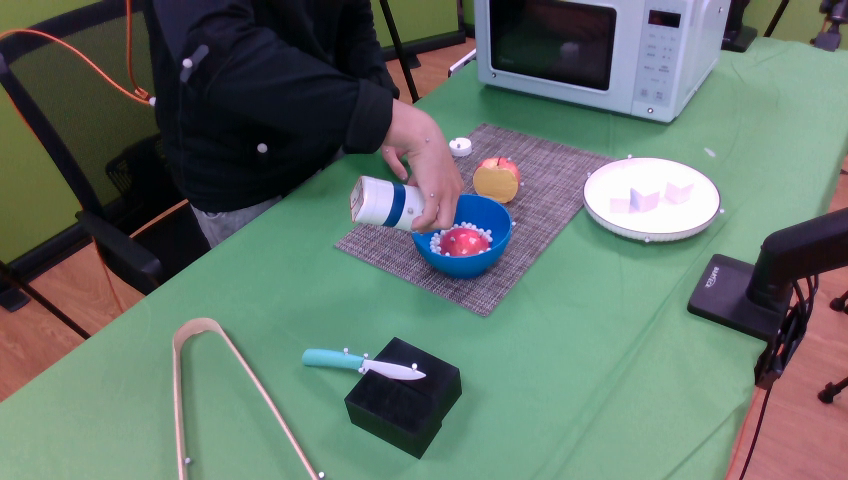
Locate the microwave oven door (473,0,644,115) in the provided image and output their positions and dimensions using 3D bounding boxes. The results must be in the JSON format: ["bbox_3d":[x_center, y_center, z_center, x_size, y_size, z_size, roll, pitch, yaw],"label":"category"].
[{"bbox_3d":[0.257,-0.396,1.199,0.353,0.245,0.039,21,48,29],"label":"microwave oven door"}]

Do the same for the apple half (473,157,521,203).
[{"bbox_3d":[0.128,-0.107,1.030,0.080,0.075,0.053,5,39,20],"label":"apple half"}]

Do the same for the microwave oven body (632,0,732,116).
[{"bbox_3d":[0.377,-0.463,1.267,0.438,0.261,0.327,21,49,30],"label":"microwave oven body"}]

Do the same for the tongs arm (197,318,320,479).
[{"bbox_3d":[-0.199,0.207,0.750,0.028,0.028,0.384,-31,45,-22],"label":"tongs arm"}]

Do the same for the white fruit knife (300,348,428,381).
[{"bbox_3d":[-0.080,0.154,0.748,0.206,0.027,0.016,1,20,34],"label":"white fruit knife"}]

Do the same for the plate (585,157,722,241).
[{"bbox_3d":[0.367,-0.063,0.979,0.207,0.039,0.206,-4,40,4],"label":"plate"}]

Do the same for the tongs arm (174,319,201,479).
[{"bbox_3d":[-0.272,0.234,0.723,0.051,0.026,0.381,-19,40,-14],"label":"tongs arm"}]

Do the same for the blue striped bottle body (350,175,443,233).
[{"bbox_3d":[-0.035,-0.046,0.821,0.122,0.063,0.062,10,35,-23],"label":"blue striped bottle body"}]

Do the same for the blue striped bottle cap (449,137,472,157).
[{"bbox_3d":[0.071,-0.180,1.168,0.044,0.021,0.044,-4,42,5],"label":"blue striped bottle cap"}]

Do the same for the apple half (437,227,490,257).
[{"bbox_3d":[0.056,0.002,0.902,0.081,0.033,0.081,-3,41,3],"label":"apple half"}]

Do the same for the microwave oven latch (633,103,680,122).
[{"bbox_3d":[0.444,-0.249,1.158,0.078,0.029,0.030,21,49,30],"label":"microwave oven latch"}]

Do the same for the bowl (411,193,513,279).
[{"bbox_3d":[0.058,0.005,0.905,0.151,0.077,0.150,-4,40,3],"label":"bowl"}]
